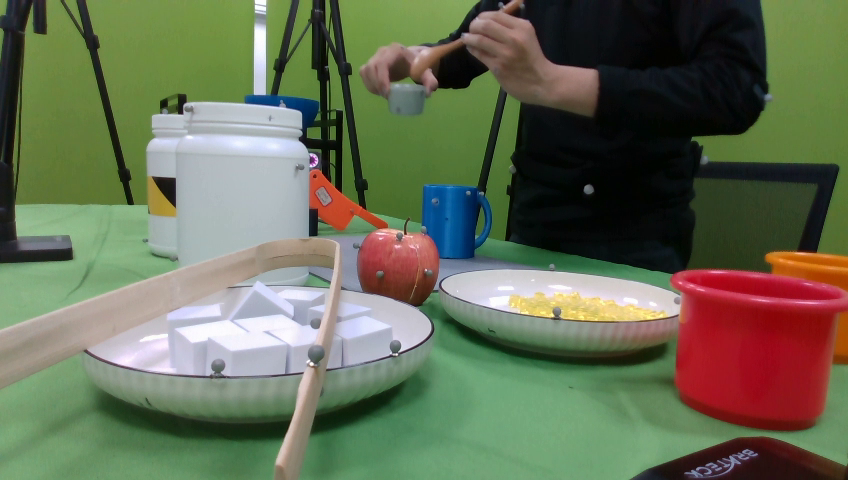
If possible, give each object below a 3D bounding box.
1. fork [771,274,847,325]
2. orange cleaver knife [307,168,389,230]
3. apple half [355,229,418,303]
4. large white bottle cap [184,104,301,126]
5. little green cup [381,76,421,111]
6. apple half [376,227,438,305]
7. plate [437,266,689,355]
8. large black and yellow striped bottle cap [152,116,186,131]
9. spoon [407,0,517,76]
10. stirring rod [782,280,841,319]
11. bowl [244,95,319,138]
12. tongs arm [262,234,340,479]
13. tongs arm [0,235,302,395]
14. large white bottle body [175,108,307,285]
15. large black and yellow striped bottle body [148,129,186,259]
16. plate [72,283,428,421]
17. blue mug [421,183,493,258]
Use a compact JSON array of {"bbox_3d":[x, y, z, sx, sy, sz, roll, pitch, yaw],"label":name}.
[{"bbox_3d":[0.332,0.018,0.443,0.028,0.018,0.207,-1,-36,-15],"label":"fork"},{"bbox_3d":[-0.158,-0.060,1.166,0.212,0.077,0.012,34,-12,-32],"label":"orange cleaver knife"},{"bbox_3d":[-0.043,0.027,0.564,0.081,0.081,0.033,9,5,42],"label":"apple half"},{"bbox_3d":[-0.184,-0.126,0.618,0.115,0.018,0.115,2,8,0],"label":"large white bottle cap"},{"bbox_3d":[-0.036,-0.223,0.923,0.061,0.038,0.061,6,30,-3],"label":"little green cup"},{"bbox_3d":[-0.017,0.025,0.593,0.080,0.074,0.054,5,2,43],"label":"apple half"},{"bbox_3d":[0.113,0.057,0.518,0.209,0.038,0.209,3,8,0],"label":"plate"},{"bbox_3d":[-0.309,-0.155,0.826,0.115,0.019,0.115,3,6,0],"label":"large black and yellow striped bottle cap"},{"bbox_3d":[0.048,-0.284,0.840,0.193,0.041,0.022,-22,-38,30],"label":"spoon"},{"bbox_3d":[0.344,0.019,0.460,0.014,0.006,0.176,-13,-27,-30],"label":"stirring rod"},{"bbox_3d":[-0.293,-0.251,1.249,0.151,0.077,0.151,2,7,0],"label":"bowl"},{"bbox_3d":[-0.074,0.039,0.349,0.051,0.026,0.384,-2,10,-3],"label":"tongs arm"},{"bbox_3d":[-0.157,0.038,0.351,0.028,0.028,0.388,-3,9,12],"label":"tongs arm"},{"bbox_3d":[-0.188,-0.042,0.630,0.131,0.184,0.130,2,8,0],"label":"large white bottle body"},{"bbox_3d":[-0.310,-0.073,0.838,0.131,0.184,0.130,2,8,0],"label":"large black and yellow striped bottle body"},{"bbox_3d":[-0.102,0.066,0.381,0.208,0.039,0.207,2,7,0],"label":"plate"},{"bbox_3d":[0.052,-0.032,0.912,0.117,0.106,0.082,-1,8,-24],"label":"blue mug"}]
